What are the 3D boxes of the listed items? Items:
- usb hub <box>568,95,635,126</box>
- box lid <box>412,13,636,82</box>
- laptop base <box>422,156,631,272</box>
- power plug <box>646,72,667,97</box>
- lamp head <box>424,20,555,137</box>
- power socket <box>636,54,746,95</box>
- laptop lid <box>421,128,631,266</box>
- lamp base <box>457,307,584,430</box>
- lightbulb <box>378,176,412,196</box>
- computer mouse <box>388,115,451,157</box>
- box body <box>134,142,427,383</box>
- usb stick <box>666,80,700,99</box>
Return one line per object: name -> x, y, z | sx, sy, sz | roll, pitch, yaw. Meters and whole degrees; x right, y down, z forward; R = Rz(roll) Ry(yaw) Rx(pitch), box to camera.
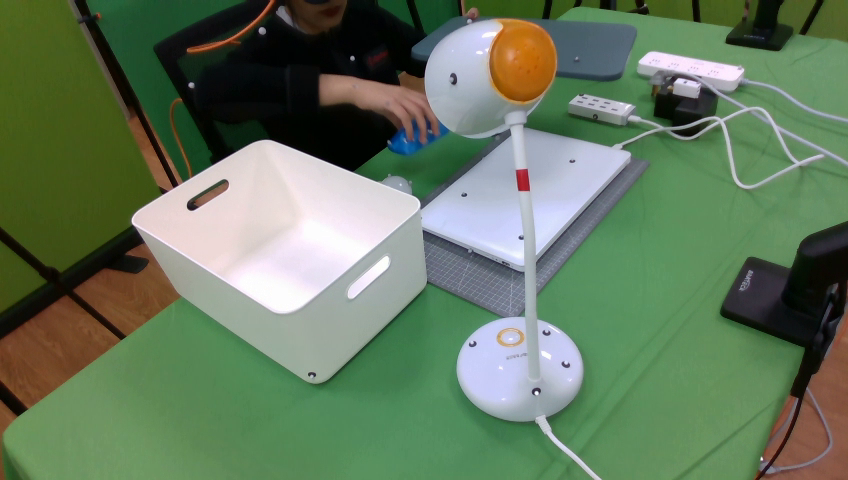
usb hub -> 0.360, -0.263, 1.228 | 0.124, 0.025, 0.049 | 24, 49, 34
box lid -> 0.189, -0.358, 1.105 | 0.370, 0.015, 0.263 | 12, 39, 18
laptop base -> 0.176, -0.084, 1.055 | 0.233, 0.023, 0.355 | 21, 48, 36
power plug -> 0.493, -0.322, 1.262 | 0.073, 0.052, 0.035 | -2, 26, -42
lamp head -> 0.069, -0.153, 0.572 | 0.113, 0.112, 0.122 | -22, 16, -14
power socket -> 0.564, -0.357, 1.293 | 0.225, 0.033, 0.072 | 24, 51, 33
laptop lid -> 0.173, -0.093, 1.049 | 0.239, 0.013, 0.358 | 23, 49, 36
lamp base -> 0.115, 0.108, 0.713 | 0.161, 0.181, 0.178 | -17, 43, -8
lightbulb -> -0.066, -0.086, 1.084 | 0.060, 0.060, 0.107 | -38, 31, -30
computer mouse -> -0.009, -0.190, 1.086 | 0.117, 0.041, 0.062 | -37, 38, -24
box body -> -0.201, 0.018, 0.896 | 0.361, 0.161, 0.255 | 23, 50, 33
usb stick -> 0.492, -0.288, 1.152 | 0.058, 0.027, 0.021 | 20, 51, 34
